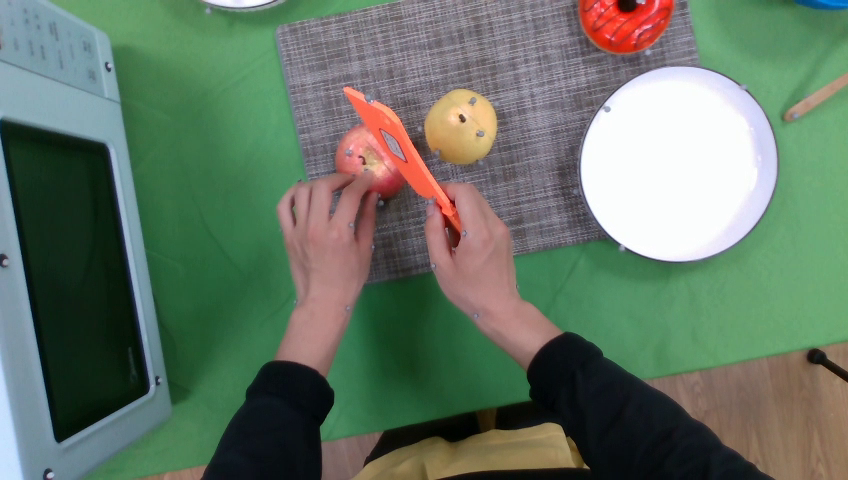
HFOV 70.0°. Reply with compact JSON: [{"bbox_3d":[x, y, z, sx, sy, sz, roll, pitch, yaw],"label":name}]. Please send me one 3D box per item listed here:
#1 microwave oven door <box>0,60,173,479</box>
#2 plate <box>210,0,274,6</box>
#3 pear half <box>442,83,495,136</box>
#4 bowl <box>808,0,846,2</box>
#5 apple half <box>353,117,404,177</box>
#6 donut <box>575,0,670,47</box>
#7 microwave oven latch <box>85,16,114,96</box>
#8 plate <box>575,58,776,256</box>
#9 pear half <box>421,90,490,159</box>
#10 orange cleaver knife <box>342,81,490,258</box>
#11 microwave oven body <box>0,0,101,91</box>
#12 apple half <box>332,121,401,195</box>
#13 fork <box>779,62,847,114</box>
[{"bbox_3d":[-0.331,0.026,0.561,0.039,0.243,0.356,-9,92,2],"label":"microwave oven door"},{"bbox_3d":[-0.195,-0.355,0.655,0.207,0.039,0.207,0,93,2],"label":"plate"},{"bbox_3d":[0.051,-0.142,0.630,0.070,0.088,0.031,38,94,5],"label":"pear half"},{"bbox_3d":[0.407,-0.311,0.620,0.151,0.077,0.151,0,94,2],"label":"bowl"},{"bbox_3d":[-0.038,-0.105,0.641,0.033,0.081,0.081,-39,91,8],"label":"apple half"},{"bbox_3d":[0.209,-0.255,0.642,0.099,0.048,0.099,0,94,5],"label":"donut"},{"bbox_3d":[-0.358,-0.196,0.651,0.030,0.029,0.079,-7,94,2],"label":"microwave oven latch"},{"bbox_3d":[0.265,-0.087,0.653,0.209,0.038,0.209,0,93,2],"label":"plate"},{"bbox_3d":[0.028,-0.115,0.623,0.076,0.110,0.056,39,93,4],"label":"pear half"},{"bbox_3d":[-0.004,-0.058,0.550,0.012,0.076,0.213,-46,129,-10],"label":"orange cleaver knife"},{"bbox_3d":[-0.481,0.005,0.570,0.326,0.260,0.442,-9,93,2],"label":"microwave oven body"},{"bbox_3d":[-0.067,-0.080,0.646,0.053,0.074,0.081,-39,97,8],"label":"apple half"},{"bbox_3d":[0.464,-0.199,0.620,0.207,0.018,0.028,-39,98,24],"label":"fork"}]
